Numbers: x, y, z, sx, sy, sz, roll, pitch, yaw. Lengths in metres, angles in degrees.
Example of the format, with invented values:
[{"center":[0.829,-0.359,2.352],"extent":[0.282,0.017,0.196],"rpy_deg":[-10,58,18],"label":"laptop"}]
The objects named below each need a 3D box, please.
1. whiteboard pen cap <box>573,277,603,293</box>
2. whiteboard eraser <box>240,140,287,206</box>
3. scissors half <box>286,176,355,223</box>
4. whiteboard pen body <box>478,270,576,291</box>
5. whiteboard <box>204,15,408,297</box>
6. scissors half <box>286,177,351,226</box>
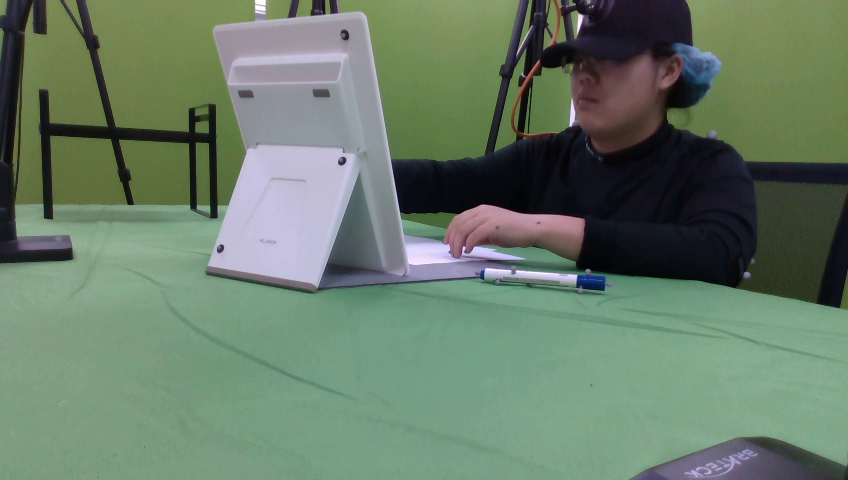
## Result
[{"center":[0.186,0.051,0.687],"extent":[0.033,0.018,0.018],"rpy_deg":[4,8,17],"label":"whiteboard pen cap"},{"center":[-0.238,-0.093,0.883],"extent":[0.042,0.055,0.112],"rpy_deg":[-50,2,-34],"label":"whiteboard eraser"},{"center":[-0.229,-0.091,1.337],"extent":[0.175,0.013,0.040],"rpy_deg":[33,13,-13],"label":"scissors half"},{"center":[0.131,0.048,0.707],"extent":[0.140,0.017,0.017],"rpy_deg":[4,8,17],"label":"whiteboard pen body"},{"center":[-0.166,-0.072,0.669],"extent":[0.216,0.305,0.144],"rpy_deg":[8,30,30],"label":"whiteboard"},{"center":[-0.232,-0.085,1.317],"extent":[0.175,0.013,0.040],"rpy_deg":[37,18,5],"label":"scissors half"}]
